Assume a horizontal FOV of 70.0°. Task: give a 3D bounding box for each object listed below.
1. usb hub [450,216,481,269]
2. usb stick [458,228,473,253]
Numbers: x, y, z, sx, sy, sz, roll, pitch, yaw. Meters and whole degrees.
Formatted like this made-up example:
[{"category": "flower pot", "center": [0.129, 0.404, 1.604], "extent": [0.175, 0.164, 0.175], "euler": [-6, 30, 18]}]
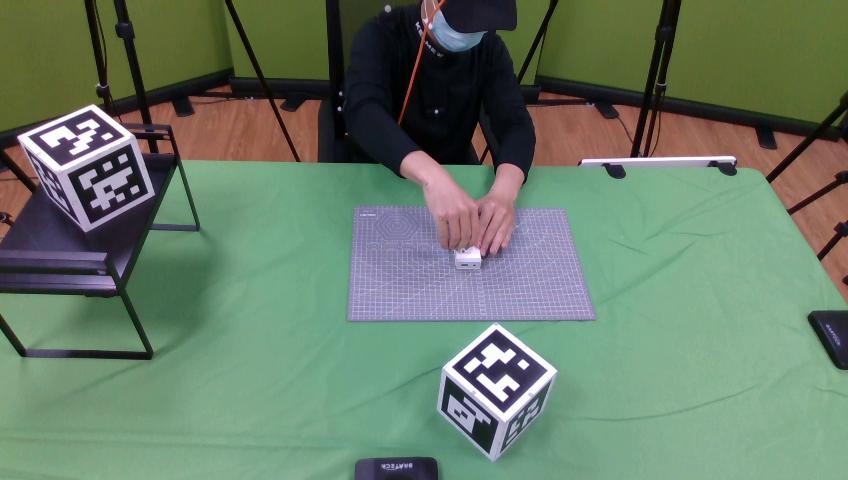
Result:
[{"category": "usb hub", "center": [0.082, 0.004, 1.194], "extent": [0.049, 0.025, 0.124], "euler": [0, 47, -5]}, {"category": "usb stick", "center": [0.079, 0.006, 1.151], "extent": [0.027, 0.059, 0.021], "euler": [-4, 45, -4]}]
